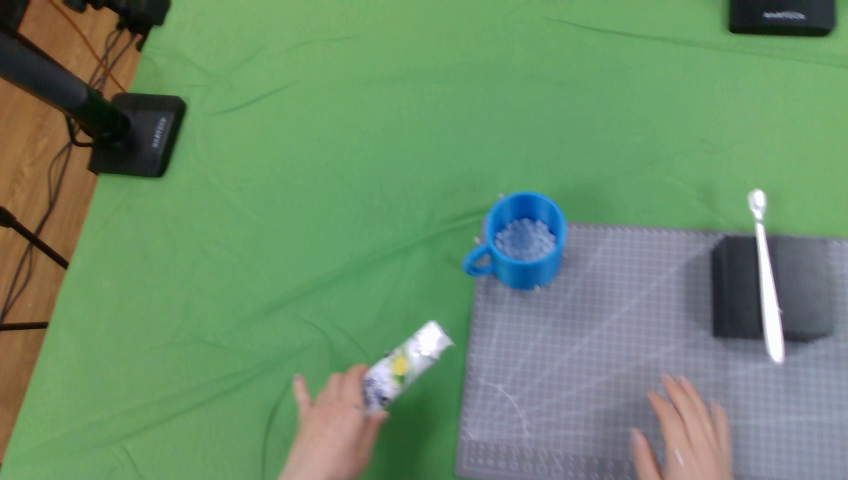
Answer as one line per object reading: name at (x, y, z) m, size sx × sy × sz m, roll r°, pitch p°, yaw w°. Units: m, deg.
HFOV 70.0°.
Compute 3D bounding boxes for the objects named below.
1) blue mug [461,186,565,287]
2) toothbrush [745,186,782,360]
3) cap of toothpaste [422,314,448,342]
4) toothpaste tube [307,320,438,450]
blue mug at (0.094, 0.006, 0.663) m, size 0.116 × 0.106 × 0.081 m, roll -23°, pitch 70°, yaw 2°
toothbrush at (0.344, 0.030, 0.612) m, size 0.014 × 0.017 × 0.181 m, roll 1°, pitch 73°, yaw 4°
cap of toothpaste at (0.011, 0.094, 0.635) m, size 0.011 × 0.037 × 0.037 m, roll -41°, pitch 70°, yaw -1°
toothpaste tube at (-0.049, 0.144, 0.635) m, size 0.165 × 0.035 × 0.054 m, roll -41°, pitch 56°, yaw -2°
